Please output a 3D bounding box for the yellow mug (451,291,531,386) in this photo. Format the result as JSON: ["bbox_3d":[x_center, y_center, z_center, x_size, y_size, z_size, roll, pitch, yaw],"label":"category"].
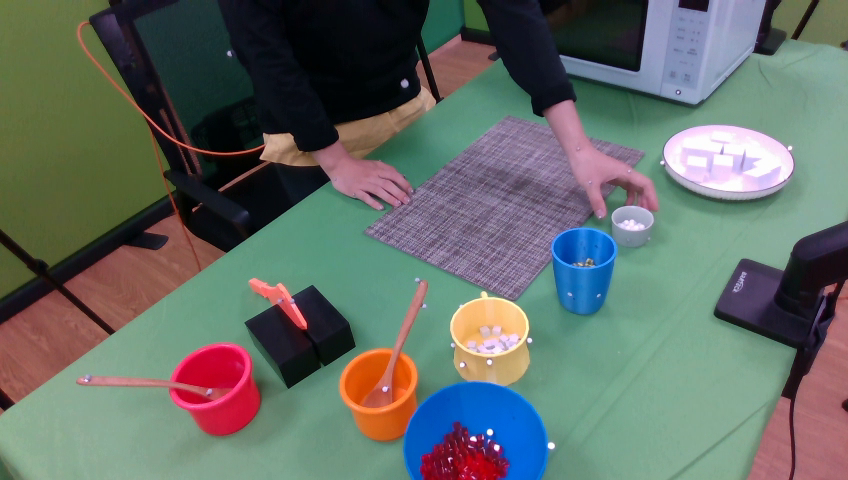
[{"bbox_3d":[0.086,0.120,0.786,0.100,0.064,0.130,-7,39,1],"label":"yellow mug"}]

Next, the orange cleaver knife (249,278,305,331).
[{"bbox_3d":[-0.210,0.089,0.856,0.012,0.077,0.210,-28,15,-25],"label":"orange cleaver knife"}]

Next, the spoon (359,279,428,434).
[{"bbox_3d":[-0.032,0.138,0.719,0.041,0.193,0.022,22,4,29],"label":"spoon"}]

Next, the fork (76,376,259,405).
[{"bbox_3d":[-0.295,0.176,0.716,0.209,0.018,0.028,19,27,-36],"label":"fork"}]

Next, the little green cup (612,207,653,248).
[{"bbox_3d":[0.321,-0.018,0.937,0.061,0.039,0.061,-4,38,3],"label":"little green cup"}]

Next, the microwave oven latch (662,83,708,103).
[{"bbox_3d":[0.518,-0.297,1.204,0.078,0.029,0.030,29,53,36],"label":"microwave oven latch"}]

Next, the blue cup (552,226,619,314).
[{"bbox_3d":[0.218,0.047,0.825,0.092,0.101,0.092,-6,40,5],"label":"blue cup"}]

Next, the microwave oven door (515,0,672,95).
[{"bbox_3d":[0.344,-0.455,1.260,0.353,0.245,0.039,26,51,33],"label":"microwave oven door"}]

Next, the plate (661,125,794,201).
[{"bbox_3d":[0.513,-0.128,1.035,0.207,0.039,0.206,-4,40,4],"label":"plate"}]

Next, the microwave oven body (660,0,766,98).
[{"bbox_3d":[0.472,-0.513,1.317,0.438,0.261,0.327,26,51,34],"label":"microwave oven body"}]

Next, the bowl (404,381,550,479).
[{"bbox_3d":[0.058,0.235,0.645,0.151,0.077,0.150,-4,39,4],"label":"bowl"}]
